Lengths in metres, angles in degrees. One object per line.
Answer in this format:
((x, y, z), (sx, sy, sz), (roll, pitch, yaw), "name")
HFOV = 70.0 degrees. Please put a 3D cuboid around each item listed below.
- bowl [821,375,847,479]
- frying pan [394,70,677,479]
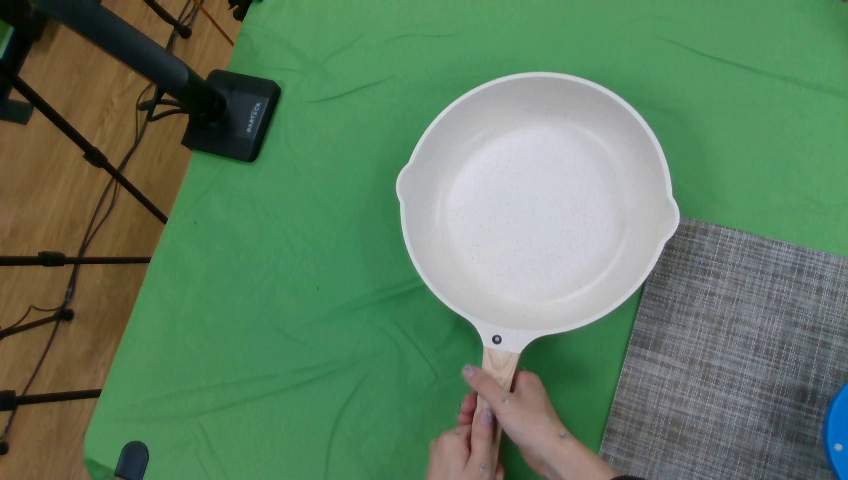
((0.452, 0.189, 0.578), (0.151, 0.077, 0.150), (-3, 76, 12), "bowl")
((0.094, 0.055, 0.660), (0.305, 0.103, 0.485), (10, 75, 16), "frying pan")
